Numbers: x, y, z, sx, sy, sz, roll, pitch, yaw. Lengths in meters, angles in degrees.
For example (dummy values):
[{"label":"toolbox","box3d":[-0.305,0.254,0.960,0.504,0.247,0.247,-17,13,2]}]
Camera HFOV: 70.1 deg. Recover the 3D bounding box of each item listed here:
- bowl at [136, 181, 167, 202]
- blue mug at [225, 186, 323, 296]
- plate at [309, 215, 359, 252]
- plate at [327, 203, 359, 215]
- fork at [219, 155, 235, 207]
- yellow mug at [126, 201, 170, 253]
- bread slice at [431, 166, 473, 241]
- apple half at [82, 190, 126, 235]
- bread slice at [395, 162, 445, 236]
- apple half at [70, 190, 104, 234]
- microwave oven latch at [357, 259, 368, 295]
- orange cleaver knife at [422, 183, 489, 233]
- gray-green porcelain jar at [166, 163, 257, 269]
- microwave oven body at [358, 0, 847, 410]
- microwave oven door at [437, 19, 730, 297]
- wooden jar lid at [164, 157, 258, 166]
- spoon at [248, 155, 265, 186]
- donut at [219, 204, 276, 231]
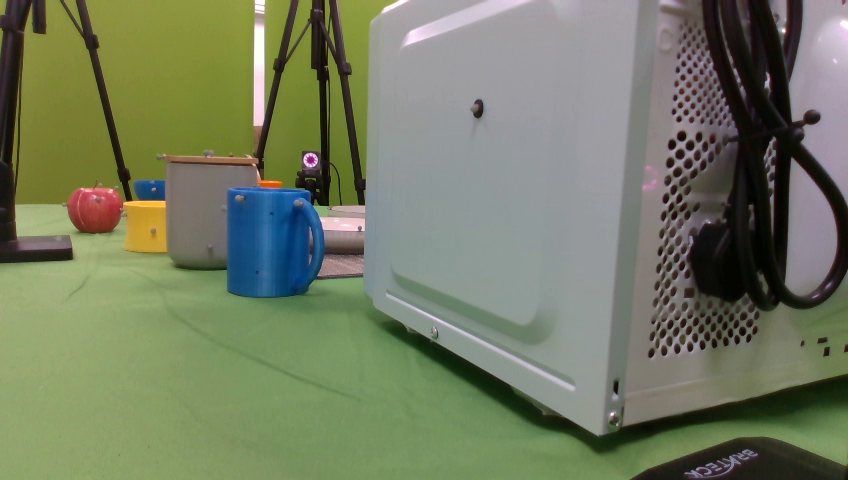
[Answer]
[{"label":"bowl","box3d":[-0.497,-0.076,1.221,0.151,0.077,0.151,2,8,0]},{"label":"blue mug","box3d":[-0.148,0.000,0.618,0.116,0.106,0.083,7,9,33]},{"label":"plate","box3d":[-0.130,-0.011,0.945,0.208,0.039,0.207,2,8,0]},{"label":"plate","box3d":[-0.102,-0.053,1.299,0.209,0.038,0.209,2,8,0]},{"label":"fork","box3d":[-0.459,-0.134,1.415,0.028,0.018,0.207,-1,-34,-24]},{"label":"yellow mug","box3d":[-0.361,-0.019,0.866,0.130,0.064,0.100,6,9,27]},{"label":"bread slice","box3d":[0.053,-0.063,1.056,0.019,0.131,0.105,11,12,35]},{"label":"apple half","box3d":[-0.517,-0.046,0.994,0.032,0.081,0.081,0,6,26]},{"label":"bread slice","box3d":[-0.007,-0.076,1.107,0.018,0.134,0.107,-14,-5,35]},{"label":"apple half","box3d":[-0.552,-0.048,1.010,0.053,0.074,0.081,-1,10,26]},{"label":"microwave oven latch","box3d":[-0.019,0.031,0.529,0.079,0.029,0.030,-1,7,-26]},{"label":"orange cleaver knife","box3d":[0.063,-0.054,1.155,0.012,0.077,0.212,-7,-12,38]},{"label":"gray-green porcelain jar","box3d":[-0.263,-0.031,0.754,0.106,0.126,0.106,2,7,0]},{"label":"microwave oven body","box3d":[0.210,-0.051,0.471,0.444,0.260,0.324,-1,7,-28]},{"label":"microwave oven door","box3d":[0.181,-0.076,0.618,0.358,0.243,0.039,-2,9,-28]},{"label":"wooden jar lid","box3d":[-0.261,-0.093,0.746,0.108,0.020,0.108,0,9,0]},{"label":"spoon","box3d":[-0.417,-0.150,1.543,0.042,0.193,0.021,-3,-35,-34]},{"label":"donut","box3d":[-0.316,-0.039,1.083,0.099,0.048,0.099,2,7,0]}]
